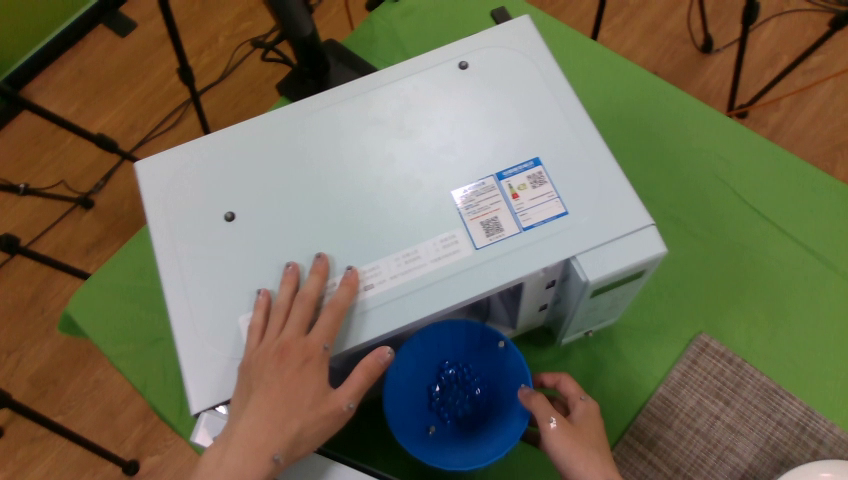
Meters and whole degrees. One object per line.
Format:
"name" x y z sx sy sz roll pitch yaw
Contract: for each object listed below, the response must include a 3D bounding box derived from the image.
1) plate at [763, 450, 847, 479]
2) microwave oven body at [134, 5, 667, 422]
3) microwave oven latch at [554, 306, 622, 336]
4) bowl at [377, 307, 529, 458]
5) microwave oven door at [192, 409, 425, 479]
"plate" 0.438 0.328 0.629 0.207 0.039 0.206 -2 68 4
"microwave oven body" -0.030 -0.005 0.689 0.442 0.262 0.323 -23 68 -3
"microwave oven latch" 0.198 0.088 0.734 0.079 0.030 0.030 -21 68 -3
"bowl" 0.030 0.153 0.632 0.151 0.077 0.150 -1 64 2
"microwave oven door" -0.015 0.245 0.579 0.354 0.245 0.039 18 71 12
